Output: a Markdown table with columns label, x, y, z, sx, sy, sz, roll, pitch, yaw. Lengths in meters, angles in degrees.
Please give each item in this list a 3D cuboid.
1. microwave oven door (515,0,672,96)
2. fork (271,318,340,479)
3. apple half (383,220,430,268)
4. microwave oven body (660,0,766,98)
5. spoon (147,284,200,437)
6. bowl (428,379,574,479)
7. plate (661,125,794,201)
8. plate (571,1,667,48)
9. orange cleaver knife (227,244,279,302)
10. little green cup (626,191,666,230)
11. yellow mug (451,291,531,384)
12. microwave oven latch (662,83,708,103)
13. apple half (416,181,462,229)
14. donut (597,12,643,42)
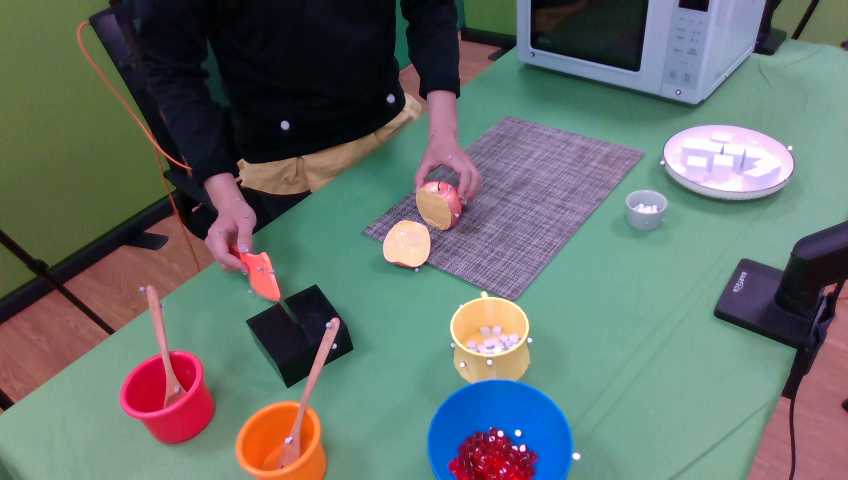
| label | x | y | z | sx | sy | sz | roll | pitch | yaw |
| --- | --- | --- | --- | --- | --- | --- | --- | --- | --- |
| microwave oven door | 0.343 | -0.455 | 1.259 | 0.353 | 0.245 | 0.039 | 26 | 51 | 33 |
| fork | -0.131 | 0.186 | 0.676 | 0.028 | 0.019 | 0.207 | 18 | 90 | 28 |
| apple half | -0.022 | 0.009 | 0.948 | 0.081 | 0.033 | 0.081 | -4 | 72 | 13 |
| microwave oven body | 0.472 | -0.513 | 1.317 | 0.438 | 0.261 | 0.327 | 26 | 51 | 34 |
| spoon | -0.318 | 0.148 | 0.754 | 0.042 | 0.021 | 0.193 | -15 | 86 | -7 |
| bowl | 0.082 | 0.233 | 0.644 | 0.151 | 0.077 | 0.150 | -4 | 39 | 4 |
| plate | 0.513 | -0.128 | 1.036 | 0.207 | 0.039 | 0.206 | -4 | 40 | 4 |
| plate | 0.438 | -0.484 | 1.369 | 0.209 | 0.038 | 0.208 | -4 | 42 | 4 |
| orange cleaver knife | -0.253 | 0.045 | 0.889 | 0.012 | 0.077 | 0.209 | -16 | 15 | -30 |
| little green cup | 0.352 | -0.046 | 0.963 | 0.061 | 0.039 | 0.061 | -4 | 40 | 4 |
| yellow mug | 0.085 | 0.120 | 0.786 | 0.100 | 0.064 | 0.130 | -7 | 39 | 1 |
| microwave oven latch | 0.518 | -0.296 | 1.204 | 0.078 | 0.029 | 0.030 | 27 | 52 | 35 |
| apple half | 0.032 | -0.062 | 0.998 | 0.080 | 0.075 | 0.053 | 24 | 46 | 38 |
| donut | 0.436 | -0.476 | 1.347 | 0.099 | 0.048 | 0.098 | -14 | 29 | 8 |
